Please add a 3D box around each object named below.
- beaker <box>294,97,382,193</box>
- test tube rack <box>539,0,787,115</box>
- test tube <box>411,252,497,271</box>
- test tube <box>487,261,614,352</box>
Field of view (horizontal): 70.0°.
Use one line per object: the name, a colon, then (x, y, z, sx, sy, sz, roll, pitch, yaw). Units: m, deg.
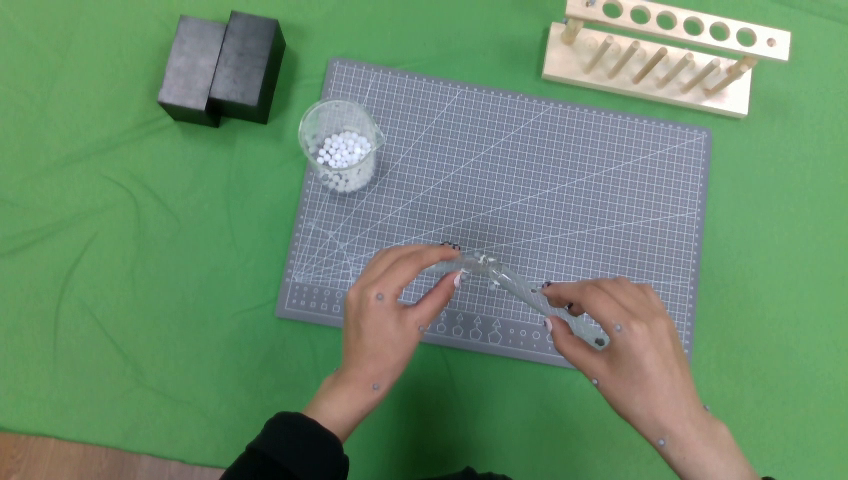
beaker: (-0.085, -0.093, 0.626, 0.084, 0.100, 0.073, 2, 80, -3)
test tube rack: (0.260, -0.208, 0.677, 0.242, 0.085, 0.066, 11, 80, -1)
test tube: (0.022, 0.019, 0.540, 0.017, 0.149, 0.017, 1, 88, -23)
test tube: (0.108, 0.058, 0.499, 0.152, 0.017, 0.017, 33, 78, -28)
